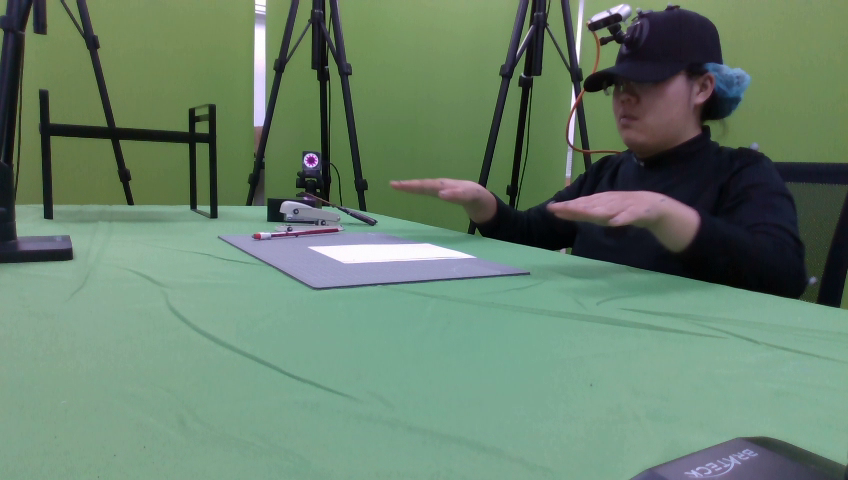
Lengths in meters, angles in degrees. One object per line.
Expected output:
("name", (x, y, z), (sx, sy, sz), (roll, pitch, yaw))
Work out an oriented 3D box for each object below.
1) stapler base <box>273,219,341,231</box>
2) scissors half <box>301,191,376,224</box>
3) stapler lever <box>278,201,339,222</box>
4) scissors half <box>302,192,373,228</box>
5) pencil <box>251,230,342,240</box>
("stapler base", (-0.226, -0.031, 1.172), (0.131, 0.024, 0.041), (0, 10, -34))
("scissors half", (-0.189, -0.073, 1.334), (0.175, 0.013, 0.040), (22, 12, -10))
("stapler lever", (-0.223, -0.055, 1.170), (0.119, 0.040, 0.026), (-1, 11, -34))
("scissors half", (-0.191, -0.068, 1.314), (0.175, 0.013, 0.040), (26, 17, 7))
("pencil", (-0.215, -0.011, 1.049), (0.012, 0.012, 0.195), (9, 9, 39))
